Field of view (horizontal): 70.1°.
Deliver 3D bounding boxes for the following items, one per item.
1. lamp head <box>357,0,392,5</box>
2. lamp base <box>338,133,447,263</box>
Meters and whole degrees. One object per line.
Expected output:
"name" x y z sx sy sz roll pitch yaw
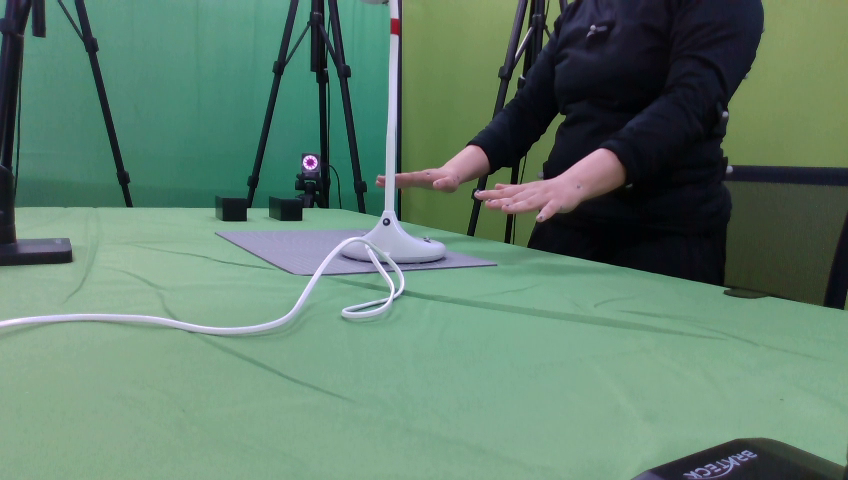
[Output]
"lamp head" -0.056 -0.383 0.819 0.113 0.112 0.122 0 13 -22
"lamp base" -0.043 -0.062 0.868 0.161 0.180 0.179 2 10 -3
